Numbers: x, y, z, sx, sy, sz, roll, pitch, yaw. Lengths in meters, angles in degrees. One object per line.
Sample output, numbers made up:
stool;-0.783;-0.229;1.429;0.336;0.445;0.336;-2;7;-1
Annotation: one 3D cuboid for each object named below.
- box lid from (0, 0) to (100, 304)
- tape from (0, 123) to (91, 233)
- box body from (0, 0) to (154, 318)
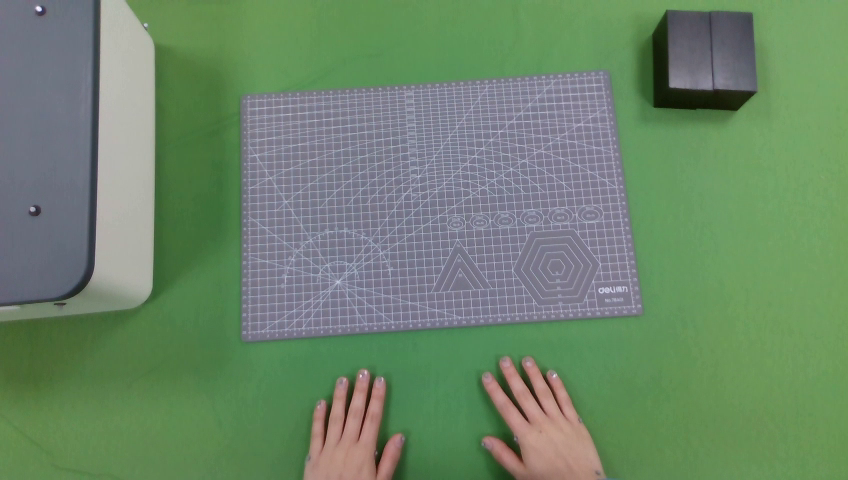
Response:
box lid;-0.442;-0.119;0.575;0.263;0.015;0.369;-5;78;0
tape;-0.448;-0.069;0.689;0.117;0.053;0.116;-1;75;3
box body;-0.440;-0.100;0.647;0.254;0.161;0.362;-5;78;-1
